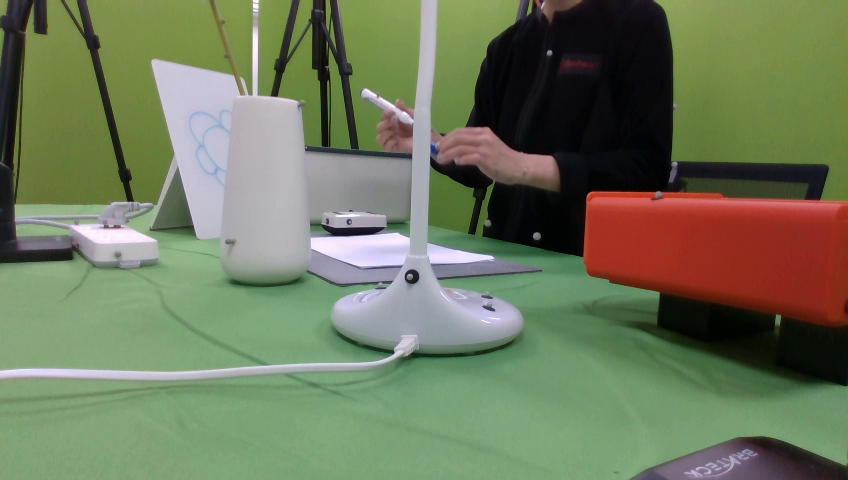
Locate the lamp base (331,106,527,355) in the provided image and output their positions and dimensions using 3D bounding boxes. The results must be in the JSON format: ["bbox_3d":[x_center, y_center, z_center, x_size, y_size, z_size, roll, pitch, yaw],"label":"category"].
[{"bbox_3d":[0.006,-0.012,0.478,0.161,0.180,0.179,2,10,2],"label":"lamp base"}]

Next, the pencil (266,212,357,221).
[{"bbox_3d":[-0.244,-0.049,1.319,0.195,0.012,0.012,3,7,-12],"label":"pencil"}]

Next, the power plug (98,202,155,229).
[{"bbox_3d":[-0.416,-0.027,0.848,0.073,0.052,0.035,0,8,-28],"label":"power plug"}]

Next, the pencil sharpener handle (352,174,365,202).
[{"bbox_3d":[-0.156,-0.125,1.450,0.031,0.068,0.036,1,20,-11],"label":"pencil sharpener handle"}]

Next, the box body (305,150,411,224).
[{"bbox_3d":[-0.230,-0.126,1.372,0.366,0.160,0.253,-2,8,-33],"label":"box body"}]

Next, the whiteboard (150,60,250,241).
[{"bbox_3d":[-0.408,-0.139,1.093,0.143,0.305,0.218,-15,-1,26],"label":"whiteboard"}]

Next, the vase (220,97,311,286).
[{"bbox_3d":[-0.172,-0.052,0.662,0.098,0.200,0.098,3,8,0],"label":"vase"}]

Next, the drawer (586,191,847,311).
[{"bbox_3d":[0.281,0.001,0.512,0.195,0.073,0.210,-1,7,-29],"label":"drawer"}]

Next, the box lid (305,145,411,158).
[{"bbox_3d":[-0.228,-0.200,1.362,0.373,0.015,0.262,-1,8,-33],"label":"box lid"}]

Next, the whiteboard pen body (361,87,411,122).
[{"bbox_3d":[-0.055,-0.217,0.984,0.140,0.017,0.017,37,26,32],"label":"whiteboard pen body"}]

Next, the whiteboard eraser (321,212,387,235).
[{"bbox_3d":[-0.128,-0.031,1.108,0.113,0.042,0.055,-3,7,-38],"label":"whiteboard eraser"}]

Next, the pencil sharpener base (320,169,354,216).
[{"bbox_3d":[-0.207,-0.113,1.438,0.077,0.107,0.061,1,6,-11],"label":"pencil sharpener base"}]

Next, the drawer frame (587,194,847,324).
[{"bbox_3d":[0.286,0.004,0.508,0.203,0.082,0.212,-1,6,-29],"label":"drawer frame"}]

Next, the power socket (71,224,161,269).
[{"bbox_3d":[-0.408,0.004,0.793,0.072,0.032,0.225,-2,8,-38],"label":"power socket"}]

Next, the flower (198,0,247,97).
[{"bbox_3d":[-0.187,-0.133,0.648,0.038,0.362,0.044,0,22,43],"label":"flower"}]

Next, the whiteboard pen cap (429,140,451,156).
[{"bbox_3d":[0.023,-0.139,0.906,0.033,0.018,0.018,25,16,23],"label":"whiteboard pen cap"}]
